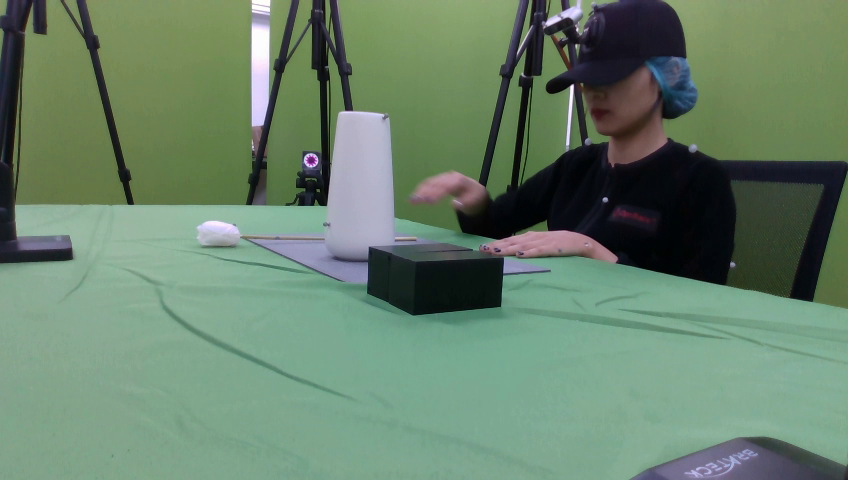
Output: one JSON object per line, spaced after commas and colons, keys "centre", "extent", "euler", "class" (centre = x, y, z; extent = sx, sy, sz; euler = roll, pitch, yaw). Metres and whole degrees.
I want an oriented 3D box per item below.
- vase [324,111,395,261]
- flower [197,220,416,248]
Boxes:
{"centre": [-0.087, -0.074, 0.829], "extent": [0.098, 0.200, 0.098], "euler": [2, 9, 0], "class": "vase"}
{"centre": [-0.174, -0.001, 0.978], "extent": [0.364, 0.038, 0.044], "euler": [4, -31, -29], "class": "flower"}
